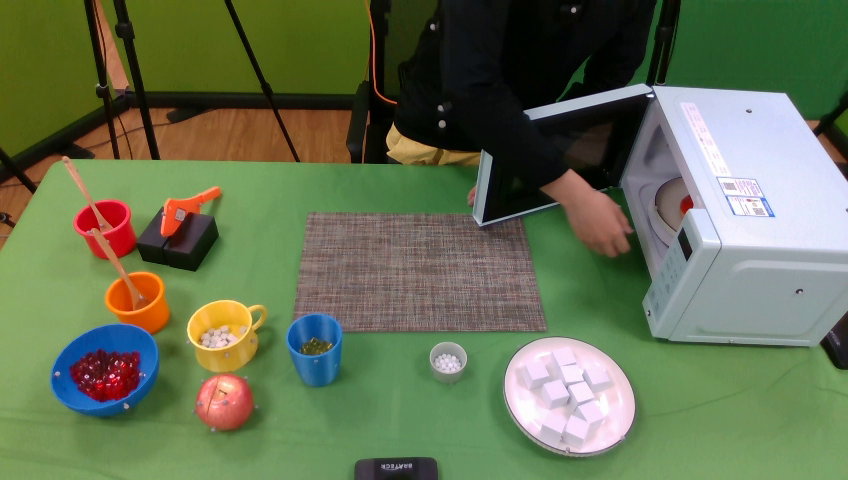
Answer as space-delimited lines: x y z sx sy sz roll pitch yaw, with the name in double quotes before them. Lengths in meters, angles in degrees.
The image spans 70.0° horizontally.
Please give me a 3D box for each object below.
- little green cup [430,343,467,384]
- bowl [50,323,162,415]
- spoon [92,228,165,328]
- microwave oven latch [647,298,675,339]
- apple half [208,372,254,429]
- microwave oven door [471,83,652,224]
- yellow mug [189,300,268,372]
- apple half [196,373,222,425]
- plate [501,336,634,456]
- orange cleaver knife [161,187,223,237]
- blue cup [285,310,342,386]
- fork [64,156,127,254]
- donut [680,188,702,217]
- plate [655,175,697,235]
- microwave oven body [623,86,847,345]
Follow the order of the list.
"little green cup" 0.039 0.203 0.993 0.061 0.039 0.061 2 47 -2
"bowl" -0.472 0.209 0.924 0.151 0.077 0.150 3 45 -2
"spoon" -0.496 0.063 1.014 0.041 0.194 0.021 -34 12 -32
"microwave oven latch" 0.412 0.134 1.061 0.030 0.029 0.078 5 45 2
"apple half" -0.282 0.244 0.908 0.053 0.075 0.080 7 43 -1
"microwave oven door" 0.271 -0.171 1.206 0.356 0.245 0.039 -16 50 -18
"yellow mug" -0.316 0.149 1.001 0.131 0.064 0.099 -33 55 -31
"apple half" -0.322 0.240 0.907 0.033 0.081 0.081 7 46 0
"plate" 0.225 0.249 0.963 0.208 0.039 0.206 2 46 -2
"orange cleaver knife" -0.448 -0.058 1.181 0.012 0.077 0.211 13 17 6
"blue cup" -0.170 0.179 0.958 0.093 0.101 0.092 1 44 -1
"fork" -0.614 -0.064 1.130 0.028 0.018 0.207 -29 97 -16
"donut" 0.547 -0.061 1.179 0.099 0.048 0.098 4 53 -5
"plate" 0.554 -0.047 1.182 0.209 0.038 0.208 2 45 -2
"microwave oven body" 0.567 -0.053 1.118 0.326 0.261 0.439 2 45 -1
